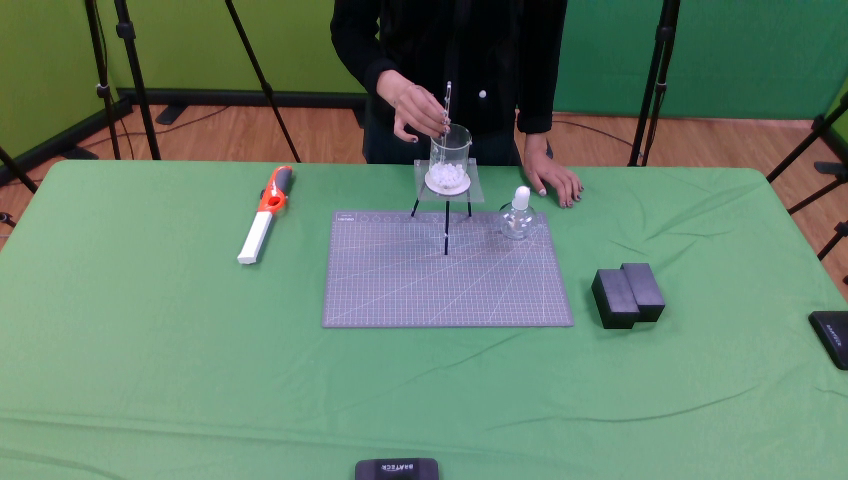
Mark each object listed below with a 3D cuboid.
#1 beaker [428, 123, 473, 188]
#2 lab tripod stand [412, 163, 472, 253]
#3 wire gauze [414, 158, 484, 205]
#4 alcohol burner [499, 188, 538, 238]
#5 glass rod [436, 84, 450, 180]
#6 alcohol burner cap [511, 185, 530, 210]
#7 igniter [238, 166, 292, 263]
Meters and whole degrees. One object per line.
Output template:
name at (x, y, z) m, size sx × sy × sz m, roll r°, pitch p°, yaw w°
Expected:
beaker at (0.044, -0.154, 1.110) m, size 0.074 × 0.101 × 0.083 m, roll -25°, pitch 54°, yaw -25°
lab tripod stand at (0.043, -0.070, 1.187) m, size 0.148 × 0.132 × 0.147 m, roll 3°, pitch 47°, yaw -3°
wire gauze at (0.045, -0.113, 1.137) m, size 0.125 × 0.011 × 0.120 m, roll 2°, pitch 48°, yaw -6°
alcohol burner at (0.189, -0.060, 1.202) m, size 0.078 × 0.120 × 0.077 m, roll 1°, pitch 48°, yaw -1°
glass rod at (0.032, -0.183, 1.054) m, size 0.008 × 0.200 × 0.008 m, roll 3°, pitch 46°, yaw -3°
alcohol burner cap at (0.190, -0.085, 1.176) m, size 0.034 × 0.048 × 0.033 m, roll 3°, pitch 50°, yaw -3°
igniter at (-0.318, -0.060, 1.229) m, size 0.057 × 0.025 × 0.275 m, roll -1°, pitch 45°, yaw 10°
